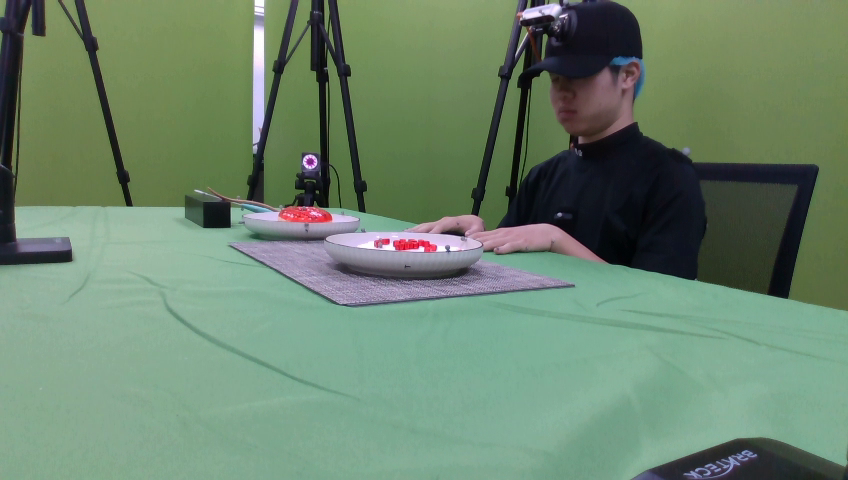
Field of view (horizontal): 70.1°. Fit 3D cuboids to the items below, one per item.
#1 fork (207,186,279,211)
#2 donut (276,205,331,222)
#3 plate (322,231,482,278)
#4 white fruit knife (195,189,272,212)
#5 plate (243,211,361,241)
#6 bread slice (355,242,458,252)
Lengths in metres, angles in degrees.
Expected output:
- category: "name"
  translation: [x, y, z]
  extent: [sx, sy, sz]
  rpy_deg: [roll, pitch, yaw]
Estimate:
- category: "fork"
  translation: [-0.342, -0.070, 1.244]
  extent: [0.208, 0.018, 0.028]
  rpy_deg: [18, -5, -24]
- category: "donut"
  translation: [-0.218, -0.037, 1.091]
  extent: [0.099, 0.048, 0.099]
  rpy_deg: [5, 9, 0]
- category: "plate"
  translation: [-0.028, 0.018, 0.789]
  extent: [0.209, 0.038, 0.209]
  rpy_deg: [3, 7, 0]
- category: "white fruit knife"
  translation: [-0.378, -0.073, 1.270]
  extent: [0.208, 0.016, 0.027]
  rpy_deg: [18, -3, -32]
- category: "plate"
  translation: [-0.219, -0.025, 1.091]
  extent: [0.208, 0.039, 0.207]
  rpy_deg: [2, 7, 0]
- category: "bread slice"
  translation: [-0.027, 0.019, 0.793]
  extent: [0.131, 0.019, 0.105]
  rpy_deg: [6, 7, 18]
